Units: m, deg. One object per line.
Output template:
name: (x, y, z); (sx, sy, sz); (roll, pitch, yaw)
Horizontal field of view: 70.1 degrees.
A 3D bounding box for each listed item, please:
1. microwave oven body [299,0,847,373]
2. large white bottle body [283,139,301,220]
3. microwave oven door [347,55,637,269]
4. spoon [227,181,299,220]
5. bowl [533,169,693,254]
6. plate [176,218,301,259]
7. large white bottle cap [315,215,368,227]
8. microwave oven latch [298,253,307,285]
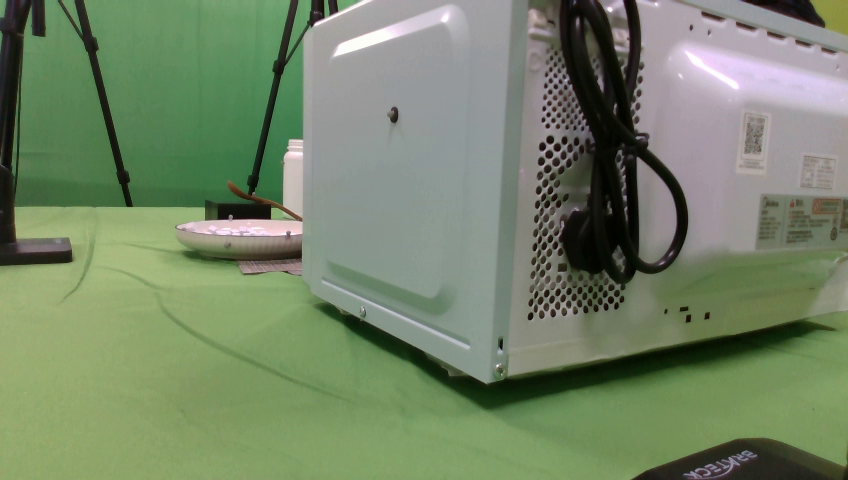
microwave oven body: (0.151, -0.055, 0.542); (0.444, 0.260, 0.324); (-2, 7, -33)
large white bottle body: (-0.265, -0.143, 1.423); (0.131, 0.184, 0.130); (2, 7, 0)
microwave oven door: (0.088, -0.087, 0.737); (0.357, 0.243, 0.039); (0, 8, -14)
spoon: (-0.315, -0.074, 1.235); (0.195, 0.021, 0.041); (24, -10, -37)
bowl: (0.181, -0.030, 0.596); (0.151, 0.077, 0.151); (2, 7, 0)
plate: (-0.248, -0.003, 0.877); (0.209, 0.038, 0.209); (1, 8, 0)
large white bottle cap: (-0.177, -0.041, 1.309); (0.115, 0.018, 0.115); (2, 6, 0)
microwave oven latch: (-0.081, 0.027, 0.582); (0.079, 0.029, 0.030); (-1, 7, -32)
